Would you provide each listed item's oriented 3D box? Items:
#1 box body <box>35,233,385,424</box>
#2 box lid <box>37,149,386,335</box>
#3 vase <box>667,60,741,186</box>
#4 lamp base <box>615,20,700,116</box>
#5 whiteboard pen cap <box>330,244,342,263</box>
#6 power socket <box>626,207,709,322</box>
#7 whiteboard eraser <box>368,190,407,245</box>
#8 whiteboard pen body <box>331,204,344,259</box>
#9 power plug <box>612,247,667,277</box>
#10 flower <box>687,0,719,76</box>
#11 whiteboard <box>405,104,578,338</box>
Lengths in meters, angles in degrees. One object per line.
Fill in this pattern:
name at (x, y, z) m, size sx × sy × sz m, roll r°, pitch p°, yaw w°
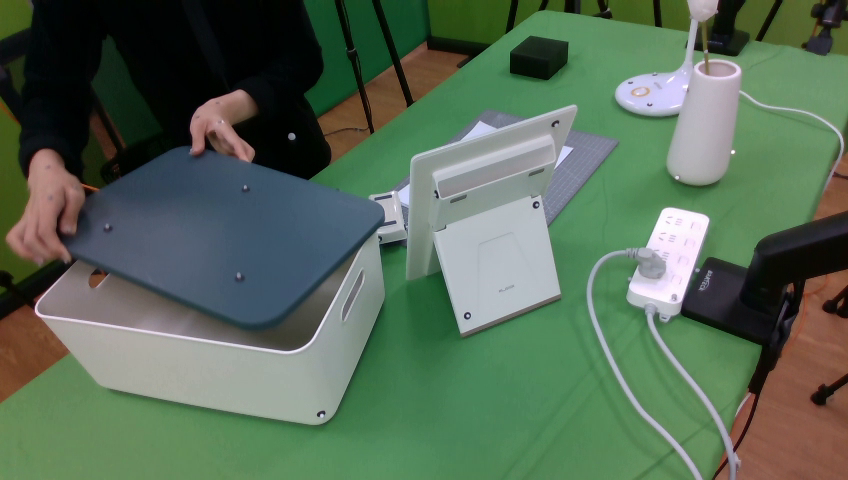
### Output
box body at (-0.254, 0.081, 0.807) m, size 0.363 × 0.161 × 0.253 m, roll 5°, pitch 42°, yaw 14°
box lid at (-0.260, -0.018, 0.763) m, size 0.369 × 0.015 × 0.264 m, roll 17°, pitch 40°, yaw 21°
vase at (0.463, -0.189, 0.994) m, size 0.098 × 0.201 × 0.097 m, roll -4°, pitch 40°, yaw 4°
lamp base at (0.484, -0.364, 1.211) m, size 0.180 × 0.181 × 0.159 m, roll -15°, pitch 41°, yaw -14°
whiteboard pen cap at (-0.142, 0.021, 0.975) m, size 0.018 × 0.018 × 0.033 m, roll -7°, pitch 38°, yaw 0°
power socket at (0.360, 0.026, 0.886) m, size 0.072 × 0.033 × 0.227 m, roll 17°, pitch 46°, yaw 26°
whiteboard eraser at (-0.061, -0.035, 1.005) m, size 0.056 × 0.042 × 0.112 m, roll -9°, pitch 40°, yaw -4°
whiteboard pen body at (-0.147, -0.015, 1.020) m, size 0.017 × 0.017 × 0.140 m, roll -6°, pitch 40°, yaw 1°
power plug at (0.306, 0.031, 0.852) m, size 0.072 × 0.053 × 0.035 m, roll 21°, pitch 48°, yaw 37°
flower at (0.436, -0.242, 0.934) m, size 0.038 × 0.364 × 0.043 m, roll -24°, pitch 49°, yaw 9°
whiteboard at (0.102, 0.003, 0.787) m, size 0.218 × 0.306 × 0.143 m, roll -19°, pitch 62°, yaw -13°
